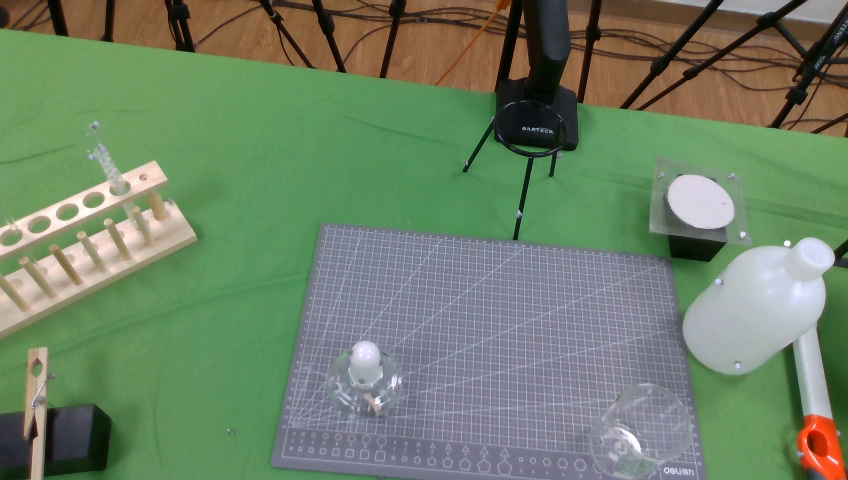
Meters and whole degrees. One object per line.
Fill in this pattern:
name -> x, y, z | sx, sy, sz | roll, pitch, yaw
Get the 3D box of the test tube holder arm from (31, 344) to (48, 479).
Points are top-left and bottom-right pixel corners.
test tube holder arm -> -0.352, 0.178, 0.553 | 0.013, 0.015, 0.176 | -8, 59, -20

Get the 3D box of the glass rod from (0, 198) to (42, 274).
glass rod -> -0.425, -0.027, 0.612 | 0.008, 0.201, 0.008 | 4, 48, -5

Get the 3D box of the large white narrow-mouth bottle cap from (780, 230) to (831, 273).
large white narrow-mouth bottle cap -> 0.362, 0.011, 0.577 | 0.038, 0.024, 0.037 | 2, 57, -3

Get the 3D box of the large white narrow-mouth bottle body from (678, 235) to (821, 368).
large white narrow-mouth bottle body -> 0.356, 0.058, 0.648 | 0.102, 0.196, 0.101 | 2, 57, -3

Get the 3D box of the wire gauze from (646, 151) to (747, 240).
wire gauze -> 0.345, -0.057, 0.772 | 0.121, 0.011, 0.124 | 12, 57, 3

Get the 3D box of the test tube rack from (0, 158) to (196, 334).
test tube rack -> -0.391, 0.007, 0.673 | 0.242, 0.086, 0.066 | -30, 65, -22

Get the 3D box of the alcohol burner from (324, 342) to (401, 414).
alcohol burner -> -0.061, 0.130, 0.607 | 0.078, 0.120, 0.077 | 4, 56, -5

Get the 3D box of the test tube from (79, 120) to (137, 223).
test tube -> -0.341, -0.069, 0.666 | 0.017, 0.151, 0.017 | 1, 52, -1

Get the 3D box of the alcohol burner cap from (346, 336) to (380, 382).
alcohol burner cap -> -0.058, 0.111, 0.577 | 0.034, 0.048, 0.033 | 2, 52, -2

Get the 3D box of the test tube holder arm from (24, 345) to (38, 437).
test tube holder arm -> -0.370, 0.141, 0.572 | 0.010, 0.015, 0.087 | -8, 59, -20

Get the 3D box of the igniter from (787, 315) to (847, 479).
igniter -> 0.430, 0.199, 0.666 | 0.057, 0.025, 0.274 | 17, 57, -7

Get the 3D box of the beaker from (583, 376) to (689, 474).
beaker -> 0.204, 0.188, 0.605 | 0.084, 0.101, 0.073 | 3, 57, -2

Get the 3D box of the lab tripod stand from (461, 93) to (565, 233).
lab tripod stand -> 0.119, -0.103, 0.764 | 0.148, 0.132, 0.147 | 3, 59, -5
